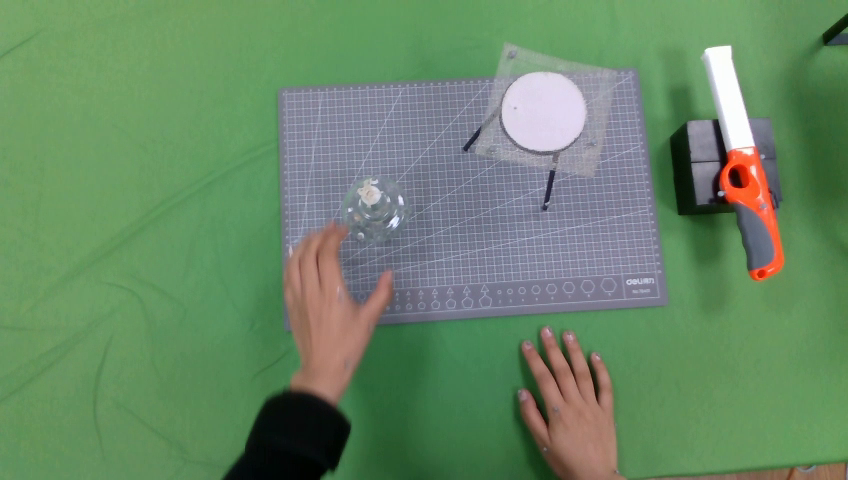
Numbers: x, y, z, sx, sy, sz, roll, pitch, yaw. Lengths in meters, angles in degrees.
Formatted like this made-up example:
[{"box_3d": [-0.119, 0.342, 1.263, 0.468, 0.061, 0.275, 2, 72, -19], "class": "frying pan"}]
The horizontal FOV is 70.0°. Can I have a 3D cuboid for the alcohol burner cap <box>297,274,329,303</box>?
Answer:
[{"box_3d": [-0.128, 0.053, 0.687, 0.034, 0.048, 0.033, 0, 79, -1], "class": "alcohol burner cap"}]

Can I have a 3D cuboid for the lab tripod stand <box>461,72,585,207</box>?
[{"box_3d": [0.119, -0.121, 0.677, 0.148, 0.132, 0.147, 0, 78, -1], "class": "lab tripod stand"}]

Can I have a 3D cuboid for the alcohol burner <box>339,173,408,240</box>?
[{"box_3d": [-0.057, -0.041, 0.669, 0.078, 0.119, 0.077, 0, 81, 0], "class": "alcohol burner"}]

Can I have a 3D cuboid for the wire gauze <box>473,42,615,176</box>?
[{"box_3d": [0.123, -0.132, 0.611, 0.121, 0.011, 0.124, 15, 79, 1], "class": "wire gauze"}]

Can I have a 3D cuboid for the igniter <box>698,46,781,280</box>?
[{"box_3d": [0.356, -0.092, 0.686, 0.057, 0.025, 0.275, -7, 77, 0], "class": "igniter"}]
